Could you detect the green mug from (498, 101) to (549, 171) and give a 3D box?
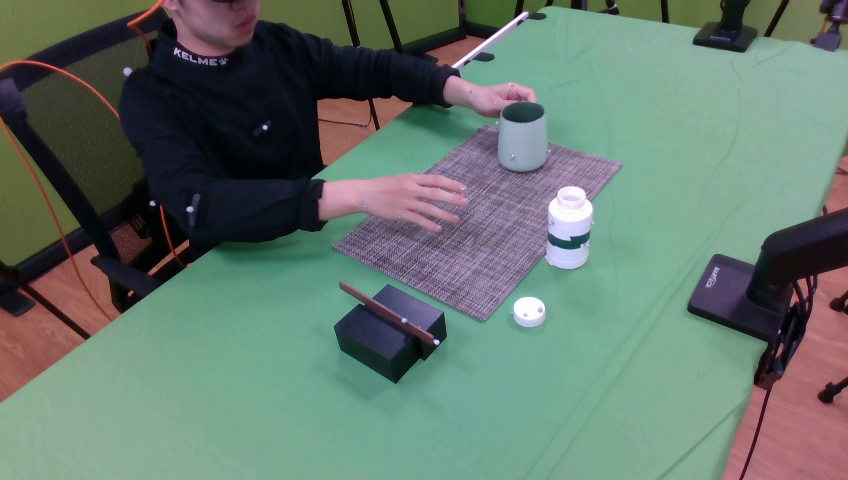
[{"bbox_3d":[0.182,-0.197,1.101,0.092,0.105,0.125,3,42,12],"label":"green mug"}]

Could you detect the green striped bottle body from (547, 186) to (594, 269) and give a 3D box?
[{"bbox_3d":[0.214,-0.020,0.886,0.063,0.120,0.063,-4,41,4],"label":"green striped bottle body"}]

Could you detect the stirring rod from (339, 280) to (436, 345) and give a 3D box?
[{"bbox_3d":[-0.052,0.093,0.795,0.174,0.014,0.006,27,47,33],"label":"stirring rod"}]

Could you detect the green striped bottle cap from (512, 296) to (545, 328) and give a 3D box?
[{"bbox_3d":[0.144,0.099,0.837,0.044,0.020,0.044,-2,45,3],"label":"green striped bottle cap"}]
